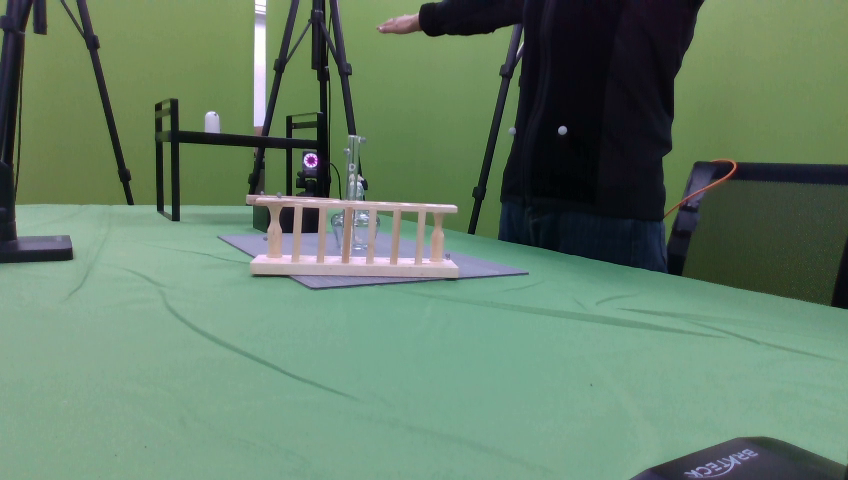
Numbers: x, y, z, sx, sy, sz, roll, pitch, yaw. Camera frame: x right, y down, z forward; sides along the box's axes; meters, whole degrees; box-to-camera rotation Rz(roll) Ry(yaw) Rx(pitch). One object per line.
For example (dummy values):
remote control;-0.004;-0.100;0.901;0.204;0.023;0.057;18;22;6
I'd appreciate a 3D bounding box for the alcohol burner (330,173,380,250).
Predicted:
alcohol burner;-0.107;-0.044;0.938;0.078;0.119;0.078;1;6;0

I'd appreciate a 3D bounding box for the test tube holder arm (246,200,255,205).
test tube holder arm;-0.283;-0.072;1.118;0.088;0.010;0.015;-6;22;-31

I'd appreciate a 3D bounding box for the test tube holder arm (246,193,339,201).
test tube holder arm;-0.244;-0.081;1.140;0.179;0.013;0.015;-6;22;-31

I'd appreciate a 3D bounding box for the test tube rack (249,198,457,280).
test tube rack;-0.082;-0.002;0.733;0.243;0.085;0.066;2;8;-8

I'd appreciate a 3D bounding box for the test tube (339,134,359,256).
test tube;-0.092;-0.054;0.743;0.017;0.150;0.017;4;5;0

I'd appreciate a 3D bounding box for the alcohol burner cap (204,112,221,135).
alcohol burner cap;-0.444;-0.245;1.270;0.034;0.048;0.034;4;8;0
